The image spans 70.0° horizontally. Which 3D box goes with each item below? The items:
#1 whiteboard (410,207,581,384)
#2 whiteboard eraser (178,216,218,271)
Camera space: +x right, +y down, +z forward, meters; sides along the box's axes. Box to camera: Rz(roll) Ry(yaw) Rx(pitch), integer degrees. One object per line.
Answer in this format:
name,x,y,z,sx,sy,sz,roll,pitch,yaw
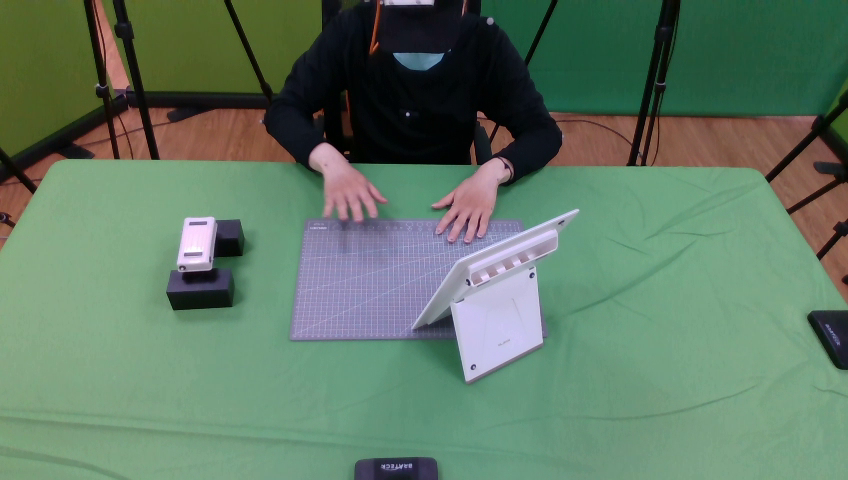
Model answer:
whiteboard,0.131,0.108,0.946,0.217,0.306,0.143,-21,72,-23
whiteboard eraser,-0.400,0.008,1.077,0.056,0.042,0.112,-1,49,-10
